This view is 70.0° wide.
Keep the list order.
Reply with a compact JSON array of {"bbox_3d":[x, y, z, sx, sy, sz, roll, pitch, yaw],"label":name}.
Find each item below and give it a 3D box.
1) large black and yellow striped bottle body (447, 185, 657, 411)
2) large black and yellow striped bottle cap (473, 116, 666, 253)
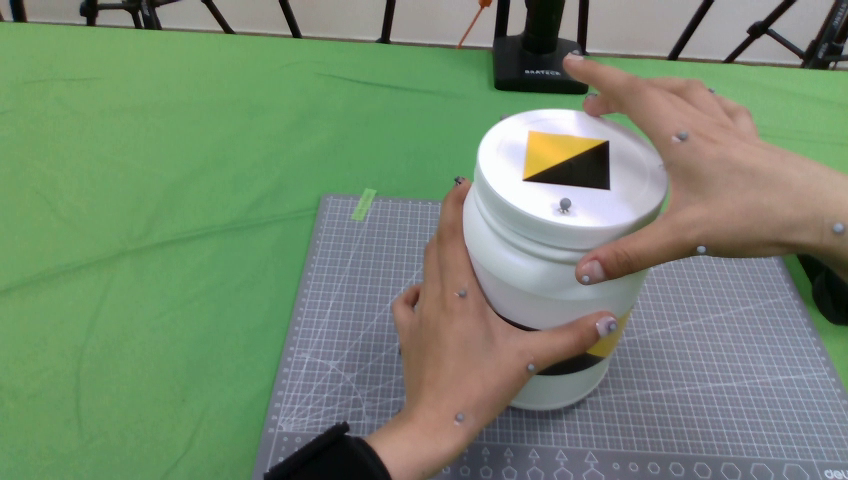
[{"bbox_3d":[0.086,0.023,0.434,0.131,0.185,0.129,2,46,-1],"label":"large black and yellow striped bottle body"},{"bbox_3d":[0.088,-0.038,0.370,0.115,0.019,0.114,2,44,-2],"label":"large black and yellow striped bottle cap"}]
